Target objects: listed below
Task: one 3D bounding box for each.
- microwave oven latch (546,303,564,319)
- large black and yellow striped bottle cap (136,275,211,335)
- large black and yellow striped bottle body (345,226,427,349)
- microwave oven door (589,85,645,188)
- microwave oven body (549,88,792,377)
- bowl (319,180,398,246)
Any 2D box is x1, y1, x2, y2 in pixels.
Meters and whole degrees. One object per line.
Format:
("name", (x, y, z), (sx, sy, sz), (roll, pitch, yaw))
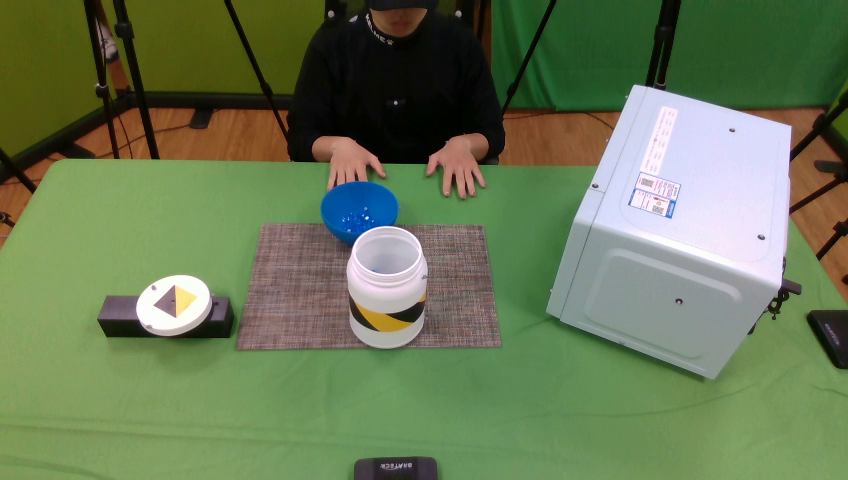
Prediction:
("microwave oven latch", (0.242, 0.102, 1.081), (0.030, 0.029, 0.079), (21, 48, 17))
("large black and yellow striped bottle cap", (-0.412, 0.105, 0.999), (0.115, 0.019, 0.114), (3, 46, -3))
("large black and yellow striped bottle body", (-0.062, 0.078, 0.998), (0.131, 0.185, 0.130), (2, 46, -2))
("microwave oven door", (0.342, -0.107, 1.149), (0.039, 0.245, 0.354), (20, 48, 15))
("microwave oven body", (0.456, -0.028, 1.088), (0.325, 0.261, 0.440), (20, 47, 16))
("bowl", (-0.126, -0.039, 1.181), (0.151, 0.077, 0.150), (3, 46, -2))
